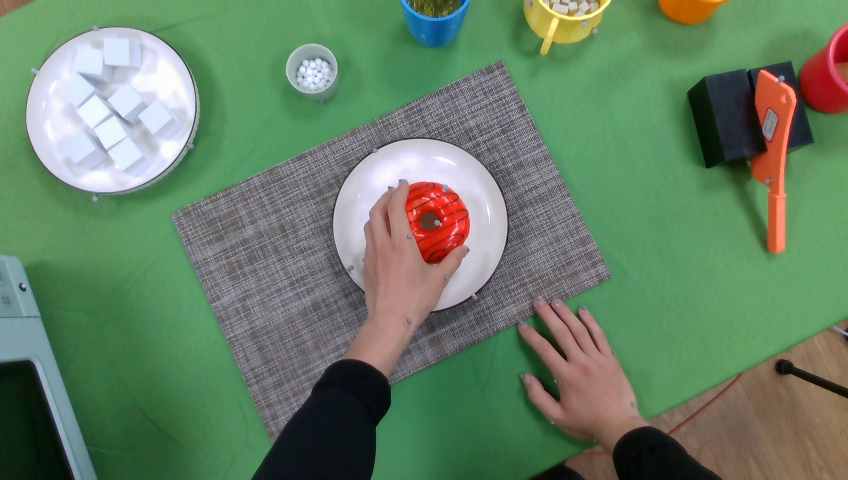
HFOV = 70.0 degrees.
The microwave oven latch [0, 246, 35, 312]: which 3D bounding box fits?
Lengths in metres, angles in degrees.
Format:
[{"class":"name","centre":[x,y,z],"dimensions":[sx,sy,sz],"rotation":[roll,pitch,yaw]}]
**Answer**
[{"class":"microwave oven latch","centre":[-0.481,0.047,0.701],"dimensions":[0.030,0.029,0.079],"rotation":[-21,86,-2]}]

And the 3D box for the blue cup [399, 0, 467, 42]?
[{"class":"blue cup","centre":[0.010,-0.282,0.712],"dimensions":[0.092,0.100,0.092],"rotation":[0,85,0]}]

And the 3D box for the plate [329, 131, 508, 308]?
[{"class":"plate","centre":[-0.006,-0.024,0.717],"dimensions":[0.209,0.038,0.208],"rotation":[0,85,0]}]

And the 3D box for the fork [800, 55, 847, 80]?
[{"class":"fork","centre":[0.542,-0.208,0.678],"dimensions":[0.206,0.019,0.028],"rotation":[-1,81,42]}]

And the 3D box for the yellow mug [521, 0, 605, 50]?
[{"class":"yellow mug","centre":[0.165,-0.290,0.729],"dimensions":[0.100,0.064,0.130],"rotation":[23,86,2]}]

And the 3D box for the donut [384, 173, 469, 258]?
[{"class":"donut","centre":[0.002,-0.028,0.698],"dimensions":[0.099,0.048,0.099],"rotation":[0,89,-1]}]

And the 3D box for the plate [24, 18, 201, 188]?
[{"class":"plate","centre":[-0.371,-0.163,0.737],"dimensions":[0.208,0.039,0.207],"rotation":[0,85,1]}]

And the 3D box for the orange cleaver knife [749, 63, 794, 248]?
[{"class":"orange cleaver knife","centre":[0.398,-0.094,0.701],"dimensions":[0.012,0.076,0.213],"rotation":[-11,114,2]}]

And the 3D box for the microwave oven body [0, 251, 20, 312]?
[{"class":"microwave oven body","centre":[-0.552,0.256,0.586],"dimensions":[0.326,0.260,0.440],"rotation":[-23,86,-2]}]

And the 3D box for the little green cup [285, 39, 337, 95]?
[{"class":"little green cup","centre":[-0.135,-0.208,0.739],"dimensions":[0.061,0.039,0.061],"rotation":[0,84,1]}]

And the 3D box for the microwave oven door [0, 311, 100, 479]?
[{"class":"microwave oven door","centre":[-0.401,0.239,0.581],"dimensions":[0.039,0.244,0.355],"rotation":[-23,85,-2]}]
